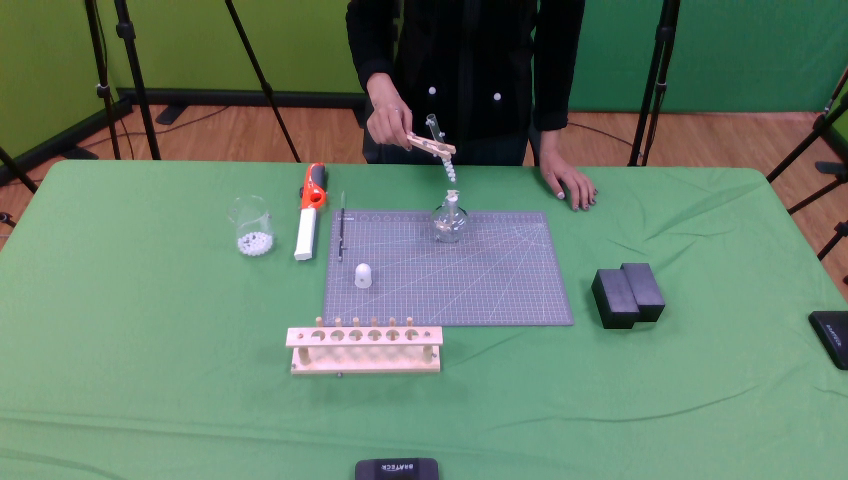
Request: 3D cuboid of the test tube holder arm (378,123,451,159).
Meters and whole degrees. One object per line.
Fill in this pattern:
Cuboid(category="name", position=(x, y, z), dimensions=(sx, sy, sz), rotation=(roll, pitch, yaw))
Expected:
Cuboid(category="test tube holder arm", position=(-0.021, -0.182, 1.104), dimensions=(0.177, 0.015, 0.013), rotation=(26, 59, 33))

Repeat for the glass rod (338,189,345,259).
Cuboid(category="glass rod", position=(-0.166, -0.036, 1.227), dimensions=(0.008, 0.008, 0.198), rotation=(-1, 46, -4))

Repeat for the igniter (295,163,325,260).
Cuboid(category="igniter", position=(-0.233, -0.068, 1.243), dimensions=(0.057, 0.025, 0.274), rotation=(-7, 46, 4))

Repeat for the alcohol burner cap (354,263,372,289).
Cuboid(category="alcohol burner cap", position=(-0.113, 0.063, 1.111), dimensions=(0.034, 0.048, 0.033), rotation=(2, 46, -2))

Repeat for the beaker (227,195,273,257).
Cuboid(category="beaker", position=(-0.326, -0.022, 1.142), dimensions=(0.074, 0.101, 0.083), rotation=(10, 47, 6))

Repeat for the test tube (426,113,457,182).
Cuboid(category="test tube", position=(0.033, -0.160, 1.068), dimensions=(0.017, 0.151, 0.017), rotation=(-12, 45, 13))

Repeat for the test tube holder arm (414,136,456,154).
Cuboid(category="test tube holder arm", position=(0.017, -0.170, 1.083), dimensions=(0.087, 0.015, 0.010), rotation=(19, 56, 30))

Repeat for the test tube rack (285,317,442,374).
Cuboid(category="test tube rack", position=(-0.095, 0.166, 0.988), dimensions=(0.242, 0.085, 0.066), rotation=(0, 46, -4))

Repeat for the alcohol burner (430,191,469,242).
Cuboid(category="alcohol burner", position=(0.051, -0.053, 1.185), dimensions=(0.078, 0.119, 0.077), rotation=(2, 48, -2))
